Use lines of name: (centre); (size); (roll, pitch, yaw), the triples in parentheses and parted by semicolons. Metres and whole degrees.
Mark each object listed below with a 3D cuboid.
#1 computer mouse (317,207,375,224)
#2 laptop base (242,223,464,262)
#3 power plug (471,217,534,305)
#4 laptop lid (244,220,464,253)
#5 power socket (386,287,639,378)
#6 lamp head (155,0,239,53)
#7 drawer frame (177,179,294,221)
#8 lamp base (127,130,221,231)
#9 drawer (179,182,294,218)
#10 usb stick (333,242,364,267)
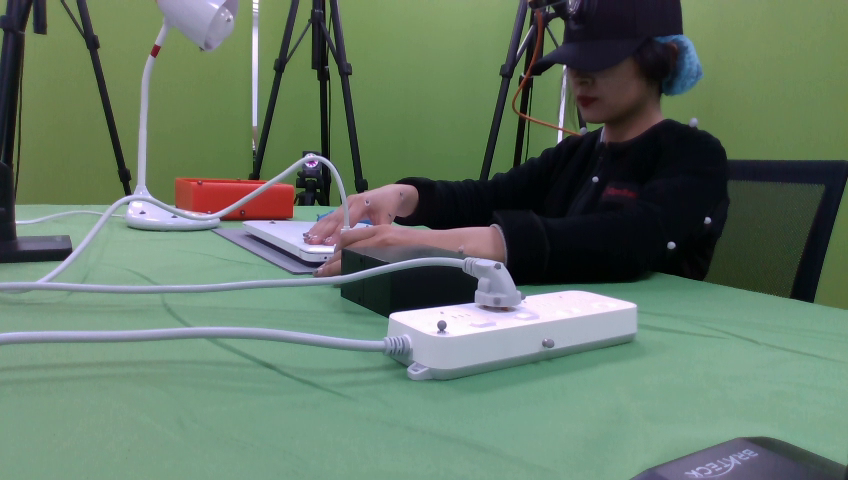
computer mouse: (-0.163, -0.048, 1.264); (0.118, 0.041, 0.062); (-6, 12, -29)
laptop base: (-0.127, 0.003, 0.946); (0.237, 0.023, 0.352); (2, 6, -30)
power plug: (0.055, 0.014, 0.454); (0.035, 0.072, 0.052); (-23, -1, -40)
laptop lid: (-0.125, -0.009, 0.946); (0.243, 0.013, 0.355); (1, 7, -28)
power socket: (0.074, 0.064, 0.461); (0.228, 0.032, 0.072); (-4, 8, -34)
lamp head: (-0.406, -0.402, 1.059); (0.123, 0.112, 0.112); (25, 5, -6)
drawer frame: (-0.422, -0.092, 1.352); (0.215, 0.082, 0.200); (-3, 10, -32)
lamp base: (-0.469, -0.112, 1.108); (0.179, 0.180, 0.160); (0, 7, 3)
drawer: (-0.420, -0.091, 1.354); (0.213, 0.073, 0.193); (-3, 10, -31)
usb stick: (-0.096, 0.017, 0.741); (0.021, 0.027, 0.059); (-4, 6, -33)
